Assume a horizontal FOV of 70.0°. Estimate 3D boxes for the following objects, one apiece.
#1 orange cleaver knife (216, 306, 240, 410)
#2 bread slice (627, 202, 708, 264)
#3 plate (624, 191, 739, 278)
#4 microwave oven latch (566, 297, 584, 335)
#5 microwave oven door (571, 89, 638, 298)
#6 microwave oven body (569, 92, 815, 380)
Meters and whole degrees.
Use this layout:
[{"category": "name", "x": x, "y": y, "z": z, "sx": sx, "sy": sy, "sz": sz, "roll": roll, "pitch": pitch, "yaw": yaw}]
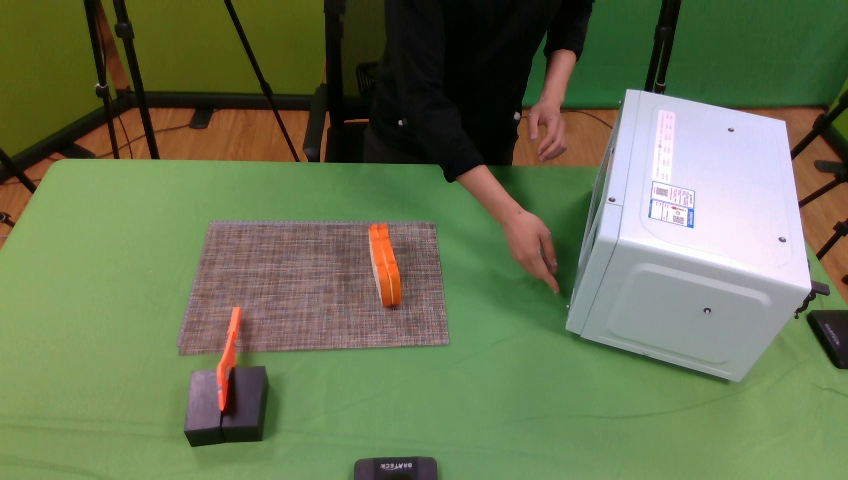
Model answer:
[{"category": "orange cleaver knife", "x": -0.307, "y": 0.180, "z": 0.957, "sx": 0.012, "sy": 0.077, "sz": 0.210, "roll": -2, "pitch": 25, "yaw": -8}, {"category": "bread slice", "x": 0.474, "y": -0.021, "z": 1.169, "sx": 0.134, "sy": 0.018, "sz": 0.106, "roll": -31, "pitch": 56, "yaw": -16}, {"category": "plate", "x": 0.482, "y": -0.007, "z": 1.148, "sx": 0.208, "sy": 0.039, "sz": 0.206, "roll": 0, "pitch": 50, "yaw": 0}, {"category": "microwave oven latch", "x": 0.268, "y": 0.126, "z": 1.059, "sx": 0.030, "sy": 0.029, "sz": 0.079, "roll": 16, "pitch": 46, "yaw": 12}, {"category": "microwave oven door", "x": 0.343, "y": -0.091, "z": 1.133, "sx": 0.039, "sy": 0.245, "sz": 0.354, "roll": 15, "pitch": 47, "yaw": 10}, {"category": "microwave oven body", "x": 0.468, "y": -0.022, "z": 1.082, "sx": 0.325, "sy": 0.261, "sz": 0.440, "roll": 15, "pitch": 46, "yaw": 11}]
